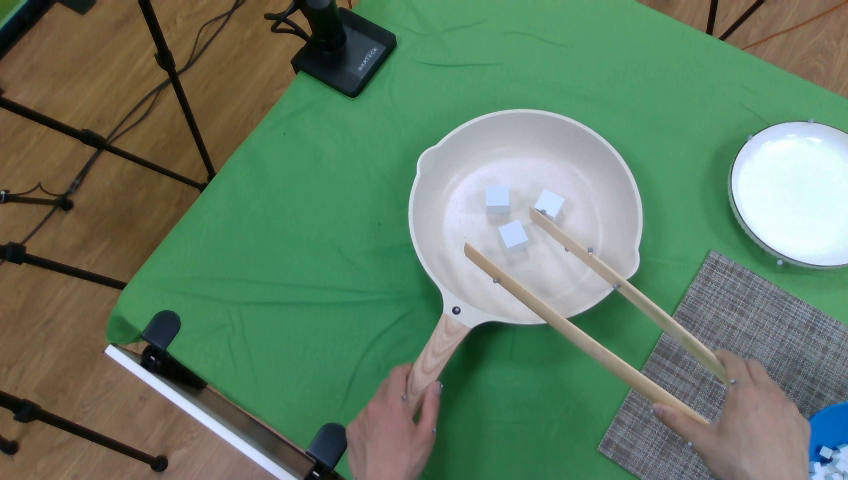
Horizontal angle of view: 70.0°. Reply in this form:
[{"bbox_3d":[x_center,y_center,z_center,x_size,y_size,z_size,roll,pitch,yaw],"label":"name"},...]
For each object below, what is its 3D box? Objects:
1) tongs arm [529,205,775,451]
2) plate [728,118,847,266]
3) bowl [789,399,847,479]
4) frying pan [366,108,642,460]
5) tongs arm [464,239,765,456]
[{"bbox_3d":[0.222,0.071,0.671,0.051,0.027,0.380,-26,45,-20],"label":"tongs arm"},{"bbox_3d":[0.503,-0.062,0.794,0.207,0.039,0.206,-1,71,3],"label":"plate"},{"bbox_3d":[0.466,0.253,0.662,0.151,0.077,0.150,-1,71,3],"label":"bowl"},{"bbox_3d":[0.071,0.049,0.747,0.305,0.103,0.486,30,67,14],"label":"frying pan"},{"bbox_3d":[0.172,0.098,0.652,0.028,0.028,0.383,-28,45,-26],"label":"tongs arm"}]
